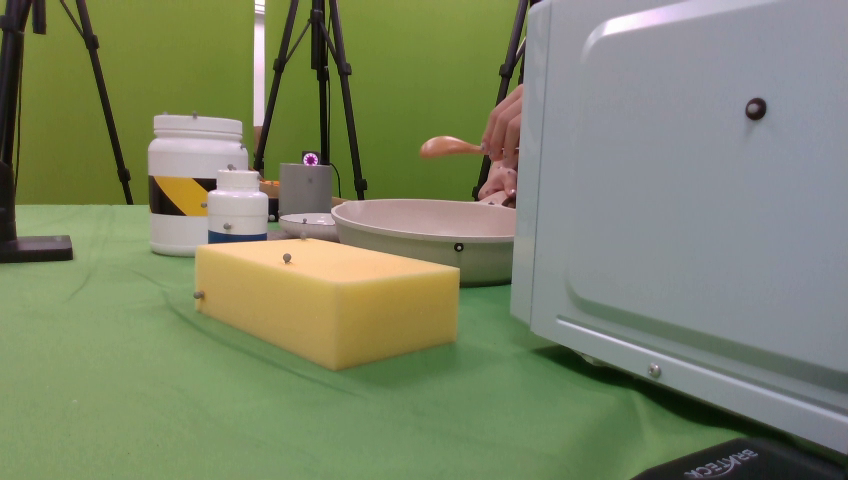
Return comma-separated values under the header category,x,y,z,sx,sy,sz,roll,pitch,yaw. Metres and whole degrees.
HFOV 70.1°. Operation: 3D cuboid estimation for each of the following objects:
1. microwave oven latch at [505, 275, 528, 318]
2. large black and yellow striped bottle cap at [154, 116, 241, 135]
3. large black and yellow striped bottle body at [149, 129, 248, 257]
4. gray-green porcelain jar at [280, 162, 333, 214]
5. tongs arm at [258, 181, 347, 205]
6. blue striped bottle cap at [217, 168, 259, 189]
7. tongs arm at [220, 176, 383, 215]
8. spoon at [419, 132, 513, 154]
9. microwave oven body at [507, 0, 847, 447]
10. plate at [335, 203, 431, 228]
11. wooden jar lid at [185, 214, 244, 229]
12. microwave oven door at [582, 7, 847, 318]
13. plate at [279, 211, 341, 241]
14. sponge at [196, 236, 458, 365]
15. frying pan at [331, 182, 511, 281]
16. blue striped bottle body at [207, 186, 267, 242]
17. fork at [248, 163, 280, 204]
category,x,y,z,sx,sy,sz,roll,pitch,yaw
microwave oven latch,0.100,0.042,0.472,0.079,0.029,0.030,-2,8,-30
large black and yellow striped bottle cap,-0.314,-0.158,0.843,0.115,0.019,0.115,3,7,0
large black and yellow striped bottle body,-0.315,-0.075,0.854,0.131,0.184,0.130,2,7,0
gray-green porcelain jar,-0.238,-0.092,1.221,0.106,0.126,0.106,2,7,0
tongs arm,-0.241,-0.095,1.373,0.387,0.026,0.050,9,0,-37
blue striped bottle cap,-0.202,-0.067,0.656,0.044,0.020,0.044,0,10,0
tongs arm,-0.285,-0.104,1.445,0.389,0.027,0.028,10,-4,-23
spoon,0.084,-0.119,0.752,0.193,0.022,0.041,5,45,16
microwave oven body,0.331,-0.042,0.425,0.444,0.260,0.324,-2,8,-31
plate,-0.089,-0.053,1.309,0.208,0.039,0.207,2,8,0
wooden jar lid,-0.404,-0.037,1.169,0.108,0.020,0.108,3,7,0
microwave oven door,0.295,-0.067,0.569,0.358,0.243,0.039,-3,8,-31
plate,-0.139,-0.022,1.021,0.209,0.038,0.209,2,8,0
sponge,-0.087,0.039,0.500,0.206,0.061,0.119,8,9,44
frying pan,0.075,-0.040,0.880,0.305,0.102,0.489,10,21,27
blue striped bottle body,-0.204,-0.016,0.663,0.063,0.120,0.063,2,7,0
fork,-0.396,-0.143,1.486,0.028,0.018,0.208,20,-26,45
